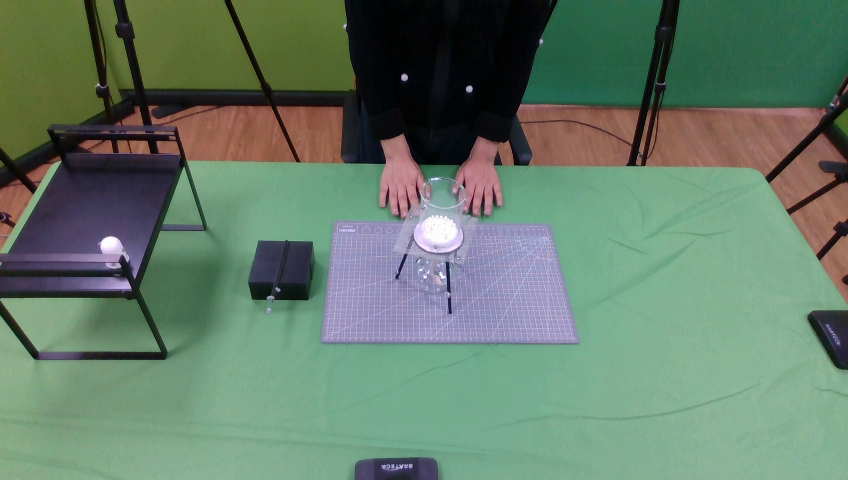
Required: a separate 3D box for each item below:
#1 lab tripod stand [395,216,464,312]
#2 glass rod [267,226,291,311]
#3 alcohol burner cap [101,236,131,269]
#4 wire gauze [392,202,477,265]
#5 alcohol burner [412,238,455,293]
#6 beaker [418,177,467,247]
[{"bbox_3d":[0.023,0.037,1.084,0.148,0.132,0.147,4,47,-4],"label":"lab tripod stand"},{"bbox_3d":[-0.256,0.047,1.076,0.008,0.008,0.198,3,46,-1],"label":"glass rod"},{"bbox_3d":[-0.452,0.016,0.883,0.034,0.048,0.033,2,47,-1],"label":"alcohol burner cap"},{"bbox_3d":[0.021,-0.011,1.037,0.121,0.011,0.124,13,49,8],"label":"wire gauze"},{"bbox_3d":[0.019,0.040,1.094,0.078,0.119,0.077,4,45,-3],"label":"alcohol burner"},{"bbox_3d":[0.026,-0.045,1.004,0.074,0.101,0.083,-20,51,-22],"label":"beaker"}]
